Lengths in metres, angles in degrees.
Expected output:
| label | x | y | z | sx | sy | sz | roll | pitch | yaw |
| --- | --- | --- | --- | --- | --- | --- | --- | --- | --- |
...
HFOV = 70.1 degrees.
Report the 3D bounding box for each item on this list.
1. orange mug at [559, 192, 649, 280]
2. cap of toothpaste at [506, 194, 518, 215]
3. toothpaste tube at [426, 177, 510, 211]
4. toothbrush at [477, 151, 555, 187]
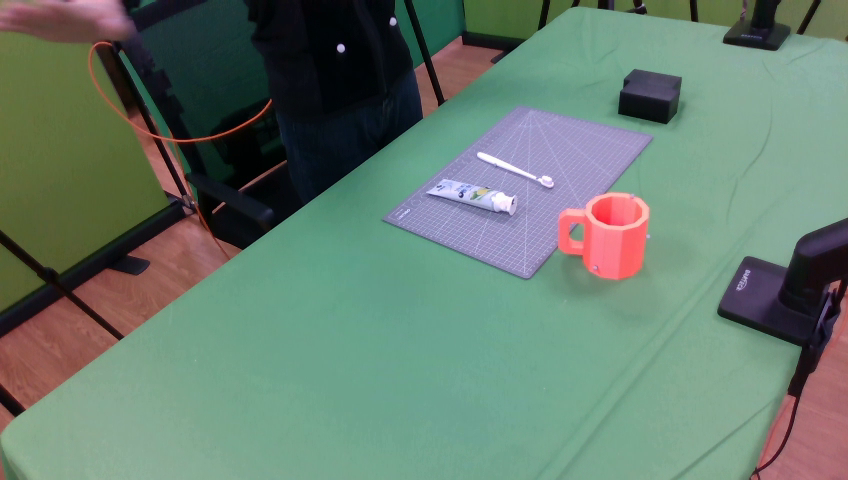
| label | x | y | z | sx | sy | sz | roll | pitch | yaw |
| --- | --- | --- | --- | --- | --- | --- | --- | --- | --- |
| orange mug | 0.261 | -0.008 | 0.884 | 0.126 | 0.101 | 0.083 | 9 | 43 | 14 |
| cap of toothpaste | 0.146 | -0.060 | 1.007 | 0.011 | 0.037 | 0.037 | 14 | 46 | 22 |
| toothpaste tube | 0.083 | -0.081 | 1.054 | 0.164 | 0.034 | 0.055 | 18 | 40 | 34 |
| toothbrush | 0.164 | -0.133 | 1.107 | 0.180 | 0.017 | 0.014 | 30 | 69 | 39 |
